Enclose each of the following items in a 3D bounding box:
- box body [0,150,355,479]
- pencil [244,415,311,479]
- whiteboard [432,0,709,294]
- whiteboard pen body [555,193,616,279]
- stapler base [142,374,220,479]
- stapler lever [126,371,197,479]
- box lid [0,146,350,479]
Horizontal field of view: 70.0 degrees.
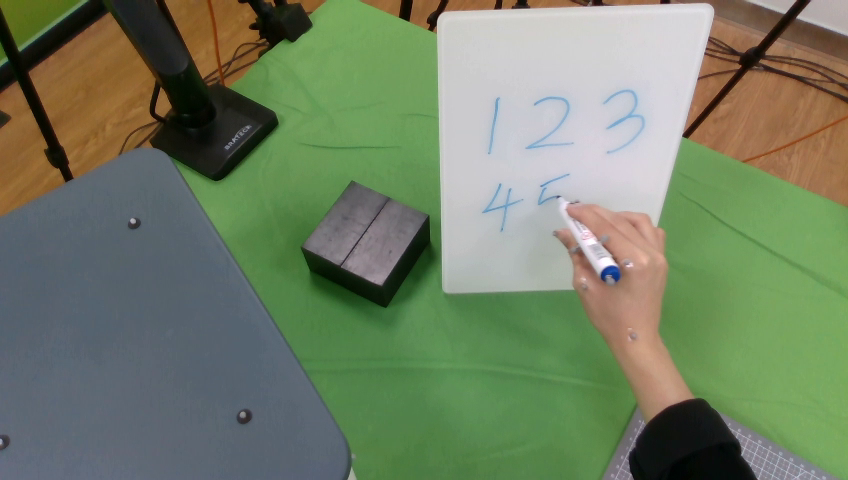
[{"bbox_3d":[-0.250,0.134,0.524,0.254,0.162,0.361,-32,64,-16],"label":"box body"},{"bbox_3d":[-0.171,0.231,0.544,0.012,0.012,0.193,32,54,19],"label":"pencil"},{"bbox_3d":[0.118,-0.107,0.613,0.217,0.308,0.142,-1,40,1],"label":"whiteboard"},{"bbox_3d":[0.134,-0.010,0.519,0.017,0.017,0.139,-6,30,-2],"label":"whiteboard pen body"},{"bbox_3d":[-0.232,0.186,0.563,0.041,0.025,0.129,2,62,23],"label":"stapler base"},{"bbox_3d":[-0.239,0.175,0.543,0.026,0.040,0.117,2,60,23],"label":"stapler lever"},{"bbox_3d":[-0.253,0.095,0.461,0.263,0.015,0.368,-32,65,-17],"label":"box lid"}]
